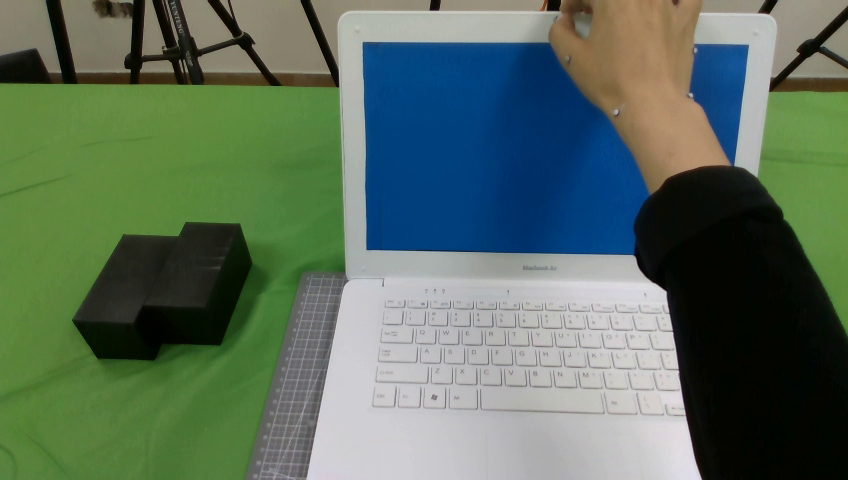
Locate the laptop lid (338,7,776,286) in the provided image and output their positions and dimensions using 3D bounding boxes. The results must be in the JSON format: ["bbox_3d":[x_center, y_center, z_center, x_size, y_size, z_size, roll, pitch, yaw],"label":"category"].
[{"bbox_3d":[0.104,-0.071,0.514,0.357,0.242,0.013,0,14,2],"label":"laptop lid"}]

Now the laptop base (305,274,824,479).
[{"bbox_3d":[0.097,0.122,0.460,0.354,0.023,0.233,1,47,2],"label":"laptop base"}]
